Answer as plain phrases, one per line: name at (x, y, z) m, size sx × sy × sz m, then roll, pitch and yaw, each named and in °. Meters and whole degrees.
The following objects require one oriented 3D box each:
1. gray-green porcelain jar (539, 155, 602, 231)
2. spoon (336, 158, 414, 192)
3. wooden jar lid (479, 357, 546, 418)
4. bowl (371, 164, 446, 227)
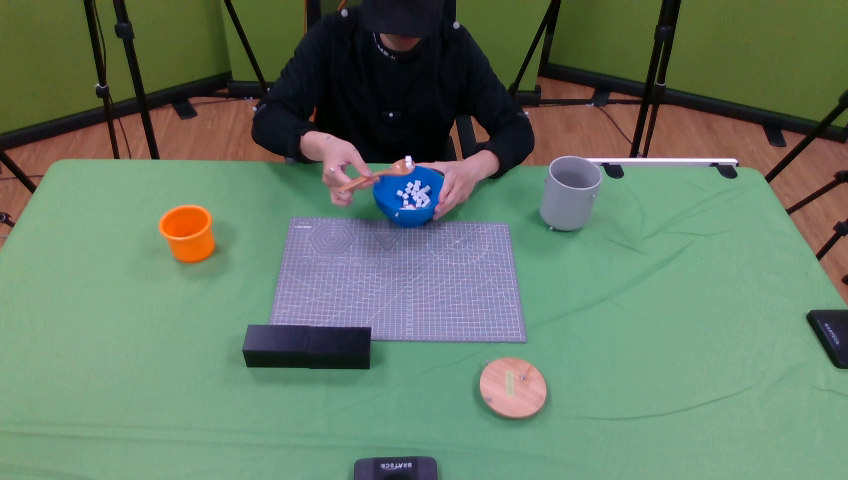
gray-green porcelain jar at (0.294, -0.091, 1.235) m, size 0.106 × 0.127 × 0.105 m, roll 2°, pitch 46°, yaw -2°
spoon at (-0.089, -0.119, 1.103) m, size 0.041 × 0.022 × 0.194 m, roll 35°, pitch 37°, yaw 27°
wooden jar lid at (0.142, 0.240, 0.979) m, size 0.108 × 0.021 × 0.107 m, roll 1°, pitch 46°, yaw -1°
bowl at (-0.032, -0.079, 1.229) m, size 0.151 × 0.077 × 0.150 m, roll 2°, pitch 43°, yaw -2°
